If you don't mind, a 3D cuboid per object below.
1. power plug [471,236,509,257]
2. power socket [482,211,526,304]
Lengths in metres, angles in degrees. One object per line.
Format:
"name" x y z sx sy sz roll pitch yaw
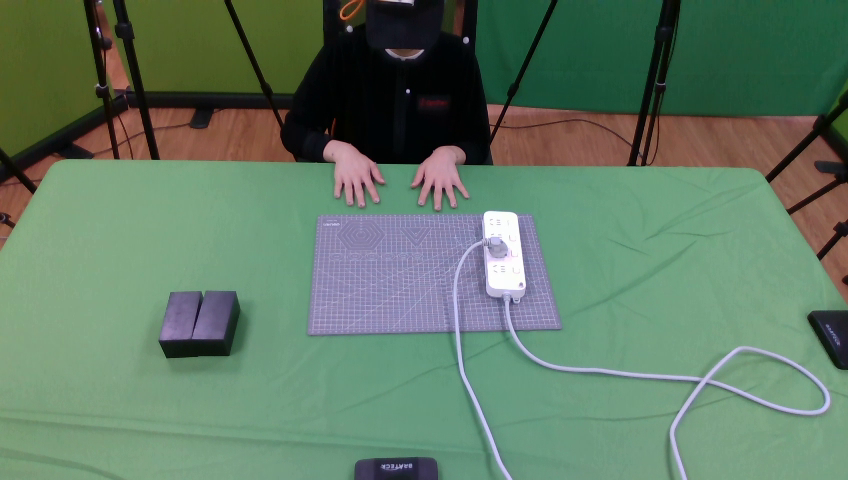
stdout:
"power plug" 0.125 0.013 1.149 0.072 0.053 0.035 11 46 6
"power socket" 0.153 0.025 1.174 0.072 0.033 0.225 2 46 0
